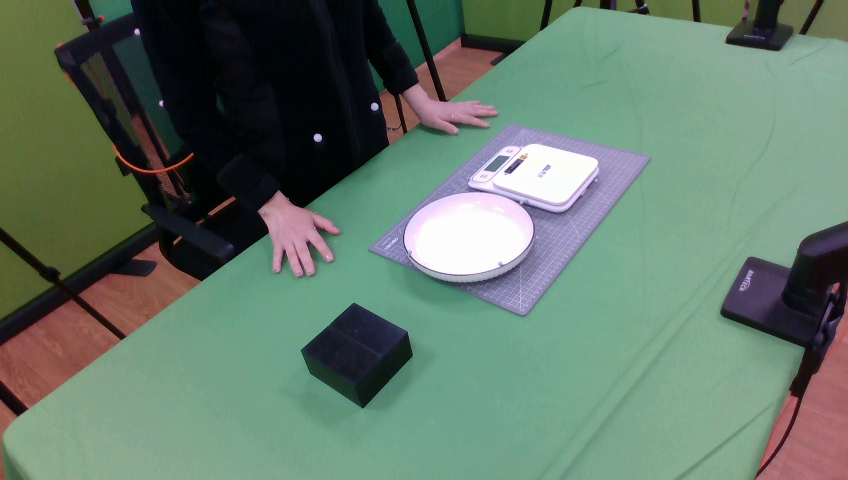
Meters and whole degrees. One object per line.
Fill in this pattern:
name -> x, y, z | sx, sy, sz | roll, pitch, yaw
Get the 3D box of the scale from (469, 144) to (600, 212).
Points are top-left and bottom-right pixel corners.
scale -> 0.194, -0.117, 1.075 | 0.199, 0.032, 0.149 | 21, 48, 32

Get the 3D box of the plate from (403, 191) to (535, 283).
plate -> 0.071, -0.003, 0.959 | 0.209, 0.038, 0.208 | -5, 40, 5
